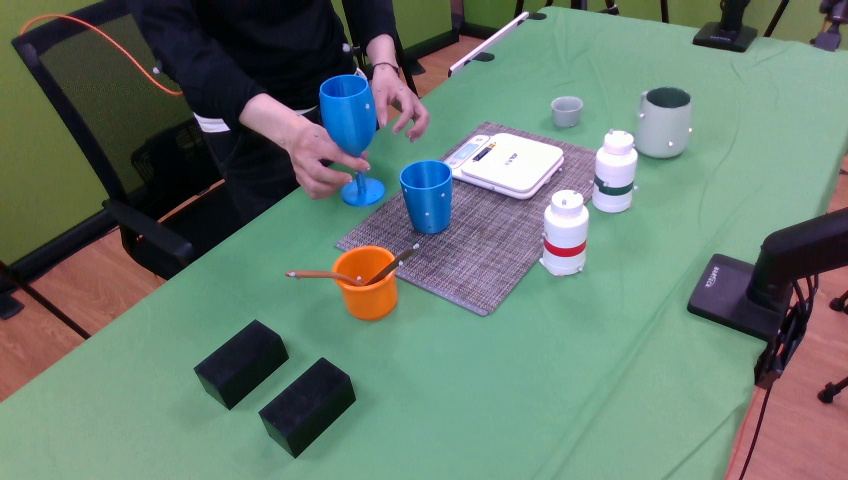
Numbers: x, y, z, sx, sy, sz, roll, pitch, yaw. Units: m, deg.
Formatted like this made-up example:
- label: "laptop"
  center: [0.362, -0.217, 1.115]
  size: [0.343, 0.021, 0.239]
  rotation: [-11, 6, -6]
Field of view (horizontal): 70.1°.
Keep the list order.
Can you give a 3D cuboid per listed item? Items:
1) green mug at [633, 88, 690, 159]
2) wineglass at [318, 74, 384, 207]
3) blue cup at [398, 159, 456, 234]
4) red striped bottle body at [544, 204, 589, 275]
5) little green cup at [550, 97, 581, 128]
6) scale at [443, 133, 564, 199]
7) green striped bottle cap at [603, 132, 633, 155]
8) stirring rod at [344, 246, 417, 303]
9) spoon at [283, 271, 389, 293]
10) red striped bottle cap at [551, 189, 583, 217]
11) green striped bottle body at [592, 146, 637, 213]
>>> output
- label: "green mug"
  center: [0.423, -0.217, 1.099]
  size: [0.093, 0.105, 0.124]
  rotation: [-16, 41, -9]
- label: "wineglass"
  center: [-0.097, -0.133, 0.824]
  size: [0.074, 0.173, 0.073]
  rotation: [-3, 42, 3]
- label: "blue cup"
  center: [0.006, -0.065, 0.977]
  size: [0.092, 0.100, 0.092]
  rotation: [-4, 39, 4]
- label: "red striped bottle body"
  center: [0.206, -0.011, 0.877]
  size: [0.063, 0.120, 0.062]
  rotation: [-5, 41, 4]
- label: "little green cup"
  center: [0.284, -0.255, 1.213]
  size: [0.061, 0.039, 0.061]
  rotation: [-4, 41, 4]
- label: "scale"
  center: [0.137, -0.142, 1.101]
  size: [0.199, 0.032, 0.149]
  rotation: [22, 48, 30]
- label: "green striped bottle cap"
  center: [0.302, -0.149, 0.939]
  size: [0.044, 0.020, 0.044]
  rotation: [-3, 40, 3]
- label: "stirring rod"
  center: [-0.062, 0.050, 0.819]
  size: [0.014, 0.175, 0.006]
  rotation: [-1, 63, -40]
- label: "spoon"
  center: [-0.117, 0.054, 0.824]
  size: [0.041, 0.195, 0.021]
  rotation: [16, 89, 37]
- label: "red striped bottle cap"
  center: [0.200, -0.052, 0.843]
  size: [0.044, 0.018, 0.044]
  rotation: [-2, 42, 2]
- label: "green striped bottle body"
  center: [0.307, -0.108, 0.976]
  size: [0.063, 0.120, 0.063]
  rotation: [-4, 41, 4]
